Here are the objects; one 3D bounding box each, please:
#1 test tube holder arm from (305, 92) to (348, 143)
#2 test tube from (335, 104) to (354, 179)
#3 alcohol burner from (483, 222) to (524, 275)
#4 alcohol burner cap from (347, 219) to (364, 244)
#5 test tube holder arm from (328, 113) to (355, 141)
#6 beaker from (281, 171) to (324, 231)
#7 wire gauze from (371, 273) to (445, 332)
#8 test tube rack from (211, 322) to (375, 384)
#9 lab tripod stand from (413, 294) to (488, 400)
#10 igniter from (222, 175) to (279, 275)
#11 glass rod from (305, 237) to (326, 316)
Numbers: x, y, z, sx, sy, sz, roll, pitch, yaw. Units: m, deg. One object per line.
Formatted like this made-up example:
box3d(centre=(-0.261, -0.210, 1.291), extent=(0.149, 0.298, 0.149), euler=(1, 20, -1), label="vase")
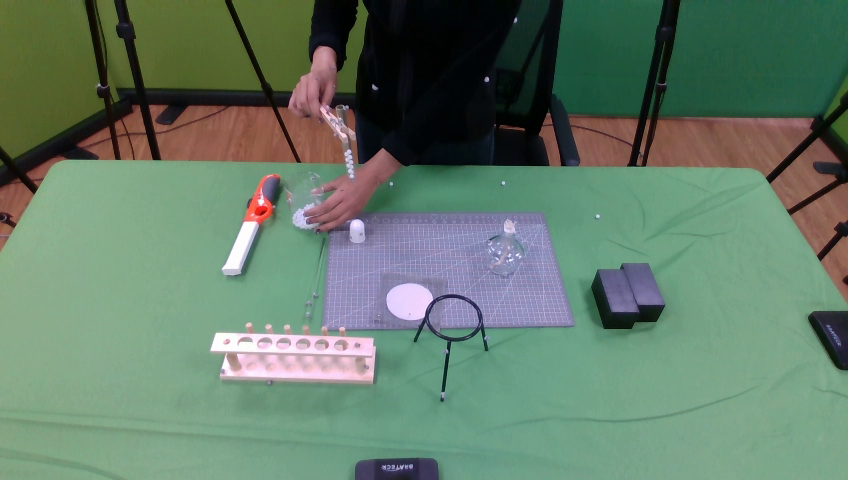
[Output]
box3d(centre=(-0.180, -0.225, 1.101), extent=(0.013, 0.015, 0.177), euler=(-21, 47, -24), label="test tube holder arm")
box3d(centre=(-0.140, -0.171, 1.076), extent=(0.017, 0.151, 0.017), euler=(-2, 42, 2), label="test tube")
box3d(centre=(0.152, 0.009, 1.136), extent=(0.078, 0.119, 0.077), euler=(4, 46, -4), label="alcohol burner")
box3d(centre=(-0.135, -0.019, 1.190), extent=(0.034, 0.048, 0.033), euler=(2, 46, -2), label="alcohol burner cap")
box3d(centre=(-0.150, -0.202, 1.077), extent=(0.010, 0.015, 0.087), euler=(-28, 50, -28), label="test tube holder arm")
box3d(centre=(-0.234, -0.073, 1.199), extent=(0.084, 0.101, 0.074), euler=(23, 49, 16), label="beaker")
box3d(centre=(-0.028, 0.108, 1.100), extent=(0.125, 0.011, 0.121), euler=(7, 45, 4), label="wire gauze")
box3d(centre=(-0.202, 0.176, 0.969), extent=(0.242, 0.085, 0.066), euler=(3, 46, -2), label="test tube rack")
box3d(centre=(0.044, 0.159, 0.972), extent=(0.148, 0.132, 0.147), euler=(2, 44, -2), label="lab tripod stand")
box3d(centre=(-0.341, -0.039, 1.207), extent=(0.057, 0.025, 0.275), euler=(-1, 45, 9), label="igniter")
box3d(centre=(-0.202, 0.063, 1.131), extent=(0.008, 0.008, 0.198), euler=(4, 44, 0), label="glass rod")
